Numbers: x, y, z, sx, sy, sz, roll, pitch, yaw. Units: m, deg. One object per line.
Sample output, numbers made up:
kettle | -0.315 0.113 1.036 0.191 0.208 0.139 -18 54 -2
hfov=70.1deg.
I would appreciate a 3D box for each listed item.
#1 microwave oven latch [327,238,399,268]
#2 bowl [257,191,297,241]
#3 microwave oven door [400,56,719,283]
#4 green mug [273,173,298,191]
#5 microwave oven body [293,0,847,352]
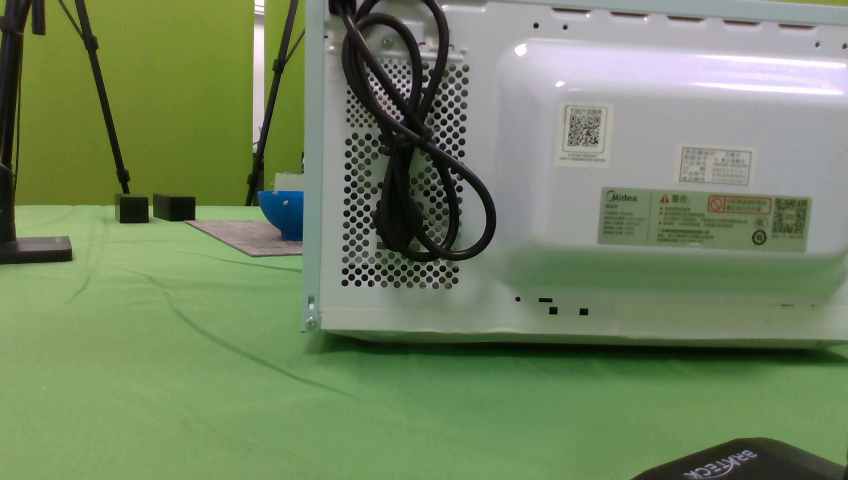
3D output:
microwave oven latch | -0.069 0.015 0.694 0.079 0.029 0.030 3 7 -3
bowl | -0.206 -0.041 1.027 0.151 0.077 0.151 3 8 0
microwave oven door | 0.155 -0.077 0.698 0.356 0.243 0.039 2 8 -5
green mug | -0.264 -0.084 1.236 0.093 0.105 0.125 0 8 -13
microwave oven body | 0.122 -0.055 0.550 0.442 0.260 0.325 3 7 -5
